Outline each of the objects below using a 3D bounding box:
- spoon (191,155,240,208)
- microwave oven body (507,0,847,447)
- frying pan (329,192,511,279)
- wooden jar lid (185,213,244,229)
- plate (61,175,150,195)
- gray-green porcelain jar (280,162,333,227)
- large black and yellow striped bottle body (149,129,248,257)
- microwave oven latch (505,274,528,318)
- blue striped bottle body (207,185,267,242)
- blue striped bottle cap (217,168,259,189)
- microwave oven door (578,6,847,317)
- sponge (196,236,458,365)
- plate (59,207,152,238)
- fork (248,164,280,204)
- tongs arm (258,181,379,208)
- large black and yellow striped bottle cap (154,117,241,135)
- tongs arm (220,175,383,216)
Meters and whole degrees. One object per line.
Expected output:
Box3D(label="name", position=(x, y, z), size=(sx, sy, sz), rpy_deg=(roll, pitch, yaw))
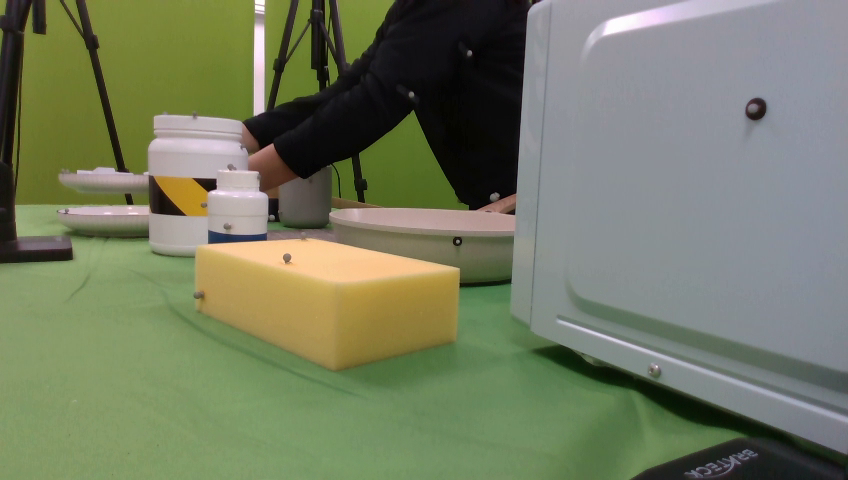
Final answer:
Box3D(label="spoon", position=(-0.489, -0.134, 1.416), size=(0.041, 0.021, 0.194), rpy_deg=(6, -36, 22))
Box3D(label="microwave oven body", position=(0.331, -0.042, 0.425), size=(0.444, 0.260, 0.324), rpy_deg=(-2, 8, -31))
Box3D(label="frying pan", position=(0.072, -0.030, 0.883), size=(0.305, 0.102, 0.490), rpy_deg=(7, 17, 28))
Box3D(label="wooden jar lid", position=(-0.404, -0.037, 1.169), size=(0.108, 0.020, 0.108), rpy_deg=(4, 8, 0))
Box3D(label="plate", position=(-0.609, -0.112, 1.218), size=(0.208, 0.039, 0.207), rpy_deg=(0, 7, 0))
Box3D(label="gray-green porcelain jar", position=(-0.237, -0.092, 1.220), size=(0.106, 0.126, 0.106), rpy_deg=(2, 7, 0))
Box3D(label="large black and yellow striped bottle body", position=(-0.315, -0.075, 0.854), size=(0.131, 0.184, 0.130), rpy_deg=(2, 7, 0))
Box3D(label="microwave oven latch", position=(0.100, 0.041, 0.472), size=(0.079, 0.029, 0.030), rpy_deg=(-2, 8, -29))
Box3D(label="blue striped bottle body", position=(-0.204, -0.016, 0.663), size=(0.063, 0.120, 0.063), rpy_deg=(2, 7, 0))
Box3D(label="blue striped bottle cap", position=(-0.202, -0.067, 0.657), size=(0.044, 0.020, 0.044), rpy_deg=(0, 11, 0))
Box3D(label="microwave oven door", position=(0.294, -0.067, 0.570), size=(0.358, 0.243, 0.039), rpy_deg=(-3, 9, -31))
Box3D(label="sponge", position=(-0.087, 0.039, 0.500), size=(0.206, 0.061, 0.119), rpy_deg=(8, 9, 44))
Box3D(label="plate", position=(-0.495, -0.031, 1.022), size=(0.209, 0.038, 0.209), rpy_deg=(1, 7, 0))
Box3D(label="fork", position=(-0.399, -0.143, 1.488), size=(0.028, 0.018, 0.208), rpy_deg=(23, -24, 47))
Box3D(label="tongs arm", position=(-0.241, -0.095, 1.374), size=(0.387, 0.026, 0.050), rpy_deg=(9, 1, -37))
Box3D(label="large black and yellow striped bottle cap", position=(-0.314, -0.158, 0.843), size=(0.115, 0.019, 0.115), rpy_deg=(3, 7, 0))
Box3D(label="tongs arm", position=(-0.285, -0.105, 1.445), size=(0.389, 0.027, 0.028), rpy_deg=(10, -3, -23))
